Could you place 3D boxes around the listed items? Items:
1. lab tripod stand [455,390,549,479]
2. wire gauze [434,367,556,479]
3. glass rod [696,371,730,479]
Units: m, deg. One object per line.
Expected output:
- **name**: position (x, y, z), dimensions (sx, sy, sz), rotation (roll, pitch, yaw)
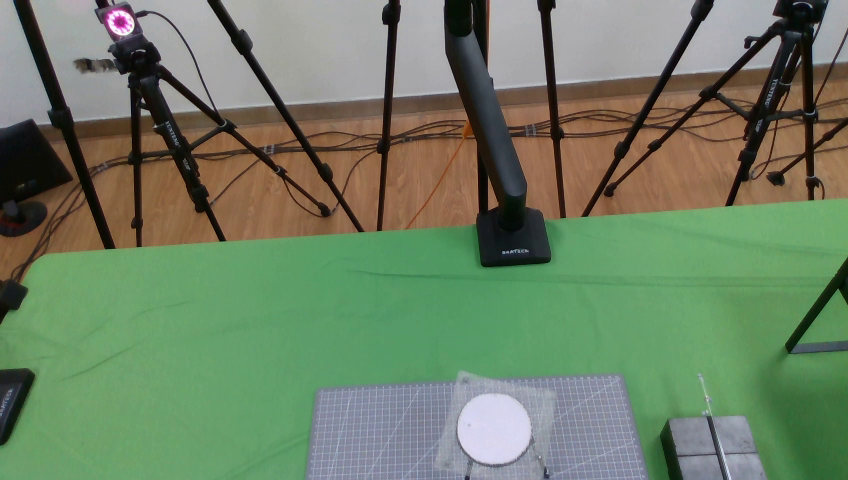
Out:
- **lab tripod stand**: position (0.084, 0.254, 0.758), dimensions (0.148, 0.133, 0.147), rotation (-4, 50, 5)
- **wire gauze**: position (0.085, 0.212, 0.705), dimensions (0.121, 0.011, 0.124), rotation (10, 51, 13)
- **glass rod**: position (0.367, 0.254, 0.756), dimensions (0.008, 0.008, 0.198), rotation (-1, 51, 5)
